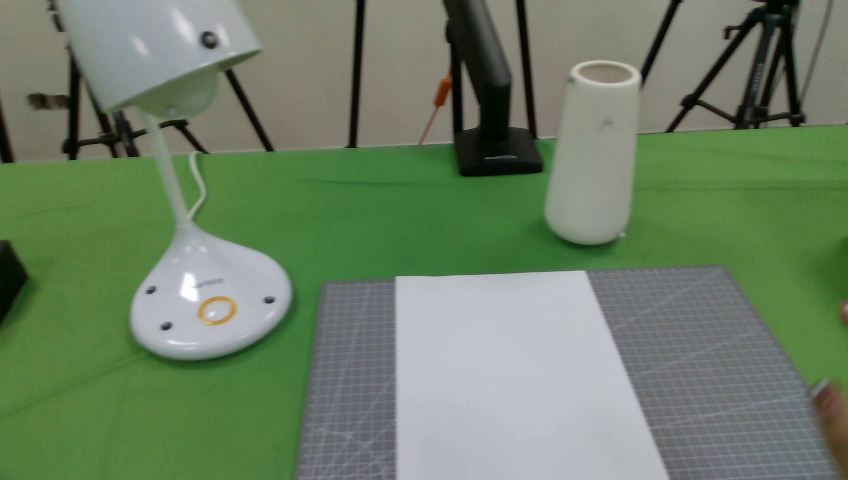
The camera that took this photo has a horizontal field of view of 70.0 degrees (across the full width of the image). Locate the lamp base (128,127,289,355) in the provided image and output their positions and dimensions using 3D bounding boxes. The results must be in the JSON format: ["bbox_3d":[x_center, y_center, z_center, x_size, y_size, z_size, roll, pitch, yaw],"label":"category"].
[{"bbox_3d":[-0.232,-0.008,0.595,0.161,0.182,0.177,-23,40,-26],"label":"lamp base"}]

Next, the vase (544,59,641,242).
[{"bbox_3d":[0.190,-0.096,0.683,0.098,0.202,0.097,-2,36,2],"label":"vase"}]

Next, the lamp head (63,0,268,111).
[{"bbox_3d":[-0.177,-0.156,0.386,0.112,0.123,0.112,-24,14,7],"label":"lamp head"}]
